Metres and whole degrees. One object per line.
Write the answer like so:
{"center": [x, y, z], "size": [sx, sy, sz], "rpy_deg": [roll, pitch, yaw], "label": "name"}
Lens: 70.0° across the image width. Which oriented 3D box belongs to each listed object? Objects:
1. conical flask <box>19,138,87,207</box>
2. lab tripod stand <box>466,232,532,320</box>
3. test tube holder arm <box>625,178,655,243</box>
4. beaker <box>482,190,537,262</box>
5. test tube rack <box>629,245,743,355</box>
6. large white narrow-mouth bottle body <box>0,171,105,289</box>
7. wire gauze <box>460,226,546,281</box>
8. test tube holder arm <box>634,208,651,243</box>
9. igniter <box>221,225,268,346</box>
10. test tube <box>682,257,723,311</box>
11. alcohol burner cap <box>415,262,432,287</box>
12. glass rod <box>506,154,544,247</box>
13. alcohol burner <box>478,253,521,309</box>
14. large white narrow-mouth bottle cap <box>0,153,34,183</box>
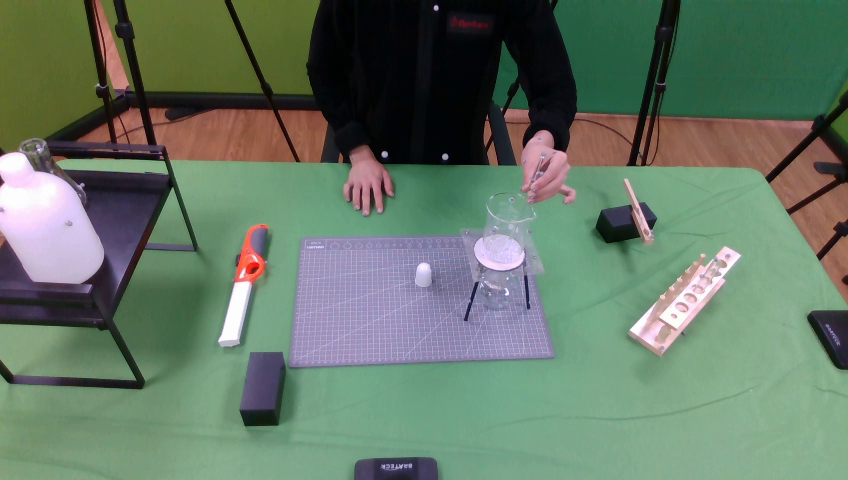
{"center": [-0.576, -0.097, 0.930], "size": [0.075, 0.122, 0.075], "rpy_deg": [2, 46, -2], "label": "conical flask"}
{"center": [0.125, 0.060, 1.065], "size": [0.148, 0.132, 0.147], "rpy_deg": [1, 45, 0], "label": "lab tripod stand"}
{"center": [0.433, -0.062, 1.220], "size": [0.013, 0.015, 0.177], "rpy_deg": [2, 47, -3], "label": "test tube holder arm"}
{"center": [0.136, -0.019, 0.983], "size": [0.084, 0.101, 0.073], "rpy_deg": [17, 47, 14], "label": "beaker"}
{"center": [0.474, 0.095, 1.091], "size": [0.242, 0.085, 0.066], "rpy_deg": [-34, 56, -31], "label": "test tube rack"}
{"center": [-0.513, -0.029, 0.818], "size": [0.102, 0.195, 0.101], "rpy_deg": [2, 46, -2], "label": "large white narrow-mouth bottle body"}
{"center": [0.130, 0.017, 1.016], "size": [0.121, 0.011, 0.124], "rpy_deg": [-3, 42, -9], "label": "wire gauze"}
{"center": [0.428, -0.030, 1.189], "size": [0.010, 0.015, 0.087], "rpy_deg": [3, 47, -3], "label": "test tube holder arm"}
{"center": [-0.323, 0.072, 1.100], "size": [0.057, 0.025, 0.274], "rpy_deg": [-6, 45, 5], "label": "igniter"}
{"center": [0.475, 0.080, 1.037], "size": [0.017, 0.151, 0.017], "rpy_deg": [1, 50, -1], "label": "test tube"}
{"center": [0.000, 0.061, 1.119], "size": [0.034, 0.048, 0.033], "rpy_deg": [2, 45, -2], "label": "alcohol burner cap"}
{"center": [0.153, -0.055, 0.926], "size": [0.008, 0.200, 0.008], "rpy_deg": [6, 48, -6], "label": "glass rod"}
{"center": [0.134, 0.067, 1.072], "size": [0.078, 0.120, 0.077], "rpy_deg": [0, 47, 0], "label": "alcohol burner"}
{"center": [-0.510, -0.090, 0.754], "size": [0.038, 0.024, 0.037], "rpy_deg": [2, 46, -2], "label": "large white narrow-mouth bottle cap"}
